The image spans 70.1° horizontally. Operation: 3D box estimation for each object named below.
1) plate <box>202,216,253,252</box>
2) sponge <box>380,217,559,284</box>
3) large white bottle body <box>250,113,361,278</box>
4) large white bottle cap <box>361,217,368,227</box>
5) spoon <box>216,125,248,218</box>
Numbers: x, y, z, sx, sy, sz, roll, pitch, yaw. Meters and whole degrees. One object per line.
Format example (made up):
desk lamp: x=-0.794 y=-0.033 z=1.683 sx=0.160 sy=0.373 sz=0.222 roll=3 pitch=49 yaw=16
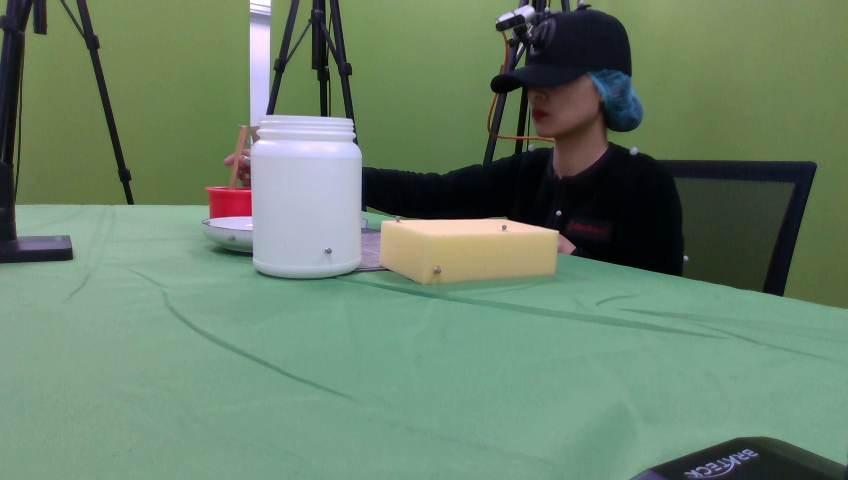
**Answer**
plate: x=-0.223 y=-0.010 z=0.909 sx=0.209 sy=0.038 sz=0.209 roll=2 pitch=7 yaw=0
sponge: x=0.059 y=0.008 z=0.786 sx=0.208 sy=0.061 sz=0.117 roll=-3 pitch=11 yaw=-32
large white bottle body: x=-0.141 y=-0.057 z=0.727 sx=0.131 sy=0.184 sz=0.130 roll=1 pitch=10 yaw=0
large white bottle cap: x=-0.171 y=-0.038 z=1.234 sx=0.115 sy=0.018 sz=0.115 roll=2 pitch=5 yaw=0
spoon: x=-0.327 y=-0.111 z=1.052 sx=0.041 sy=0.193 sz=0.022 roll=4 pitch=-11 yaw=13
